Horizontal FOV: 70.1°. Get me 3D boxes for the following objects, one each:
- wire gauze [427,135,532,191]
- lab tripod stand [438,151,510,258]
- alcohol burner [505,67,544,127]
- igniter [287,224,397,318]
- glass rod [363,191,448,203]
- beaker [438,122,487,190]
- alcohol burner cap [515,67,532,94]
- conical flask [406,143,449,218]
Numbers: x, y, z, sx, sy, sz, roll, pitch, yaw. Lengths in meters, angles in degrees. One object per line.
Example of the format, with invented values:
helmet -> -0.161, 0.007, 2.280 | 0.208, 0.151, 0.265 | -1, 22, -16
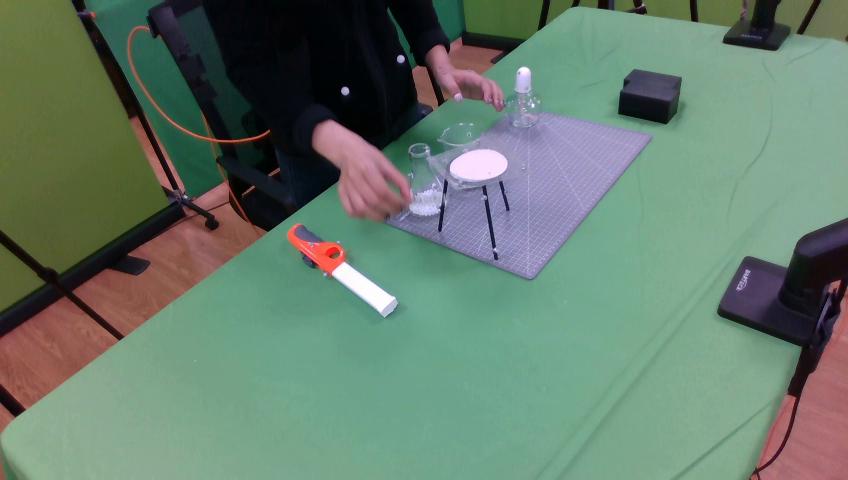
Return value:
wire gauze -> 0.081, -0.115, 0.909 | 0.125, 0.011, 0.120 | -18, 39, -11
lab tripod stand -> 0.087, -0.064, 0.952 | 0.148, 0.132, 0.147 | -6, 38, 5
alcohol burner -> 0.201, -0.288, 1.211 | 0.078, 0.119, 0.077 | -6, 38, 5
igniter -> -0.139, 0.042, 0.958 | 0.057, 0.025, 0.274 | -42, 49, -19
glass rod -> -0.032, -0.062, 0.873 | 0.008, 0.008, 0.198 | -41, 24, -31
beaker -> 0.072, -0.147, 1.080 | 0.084, 0.101, 0.073 | -5, 40, 7
alcohol burner cap -> 0.197, -0.315, 1.187 | 0.034, 0.048, 0.033 | -3, 47, 3
conical flask -> 0.000, -0.104, 1.024 | 0.075, 0.122, 0.075 | -6, 40, 5
